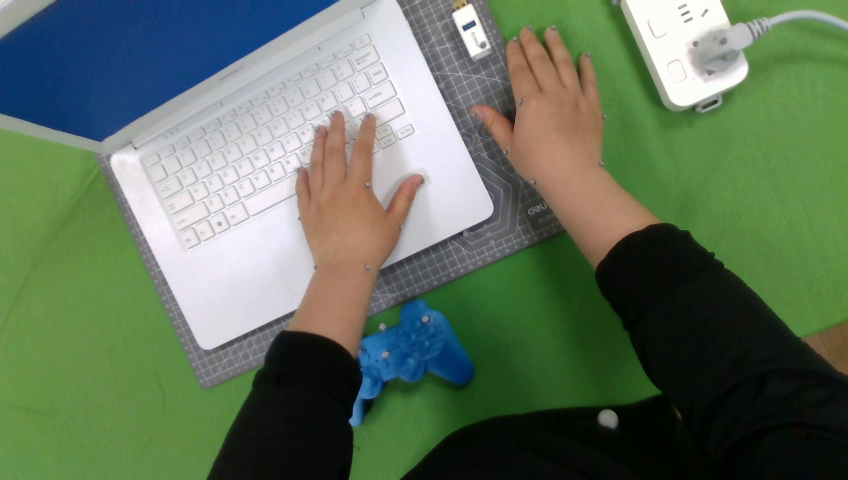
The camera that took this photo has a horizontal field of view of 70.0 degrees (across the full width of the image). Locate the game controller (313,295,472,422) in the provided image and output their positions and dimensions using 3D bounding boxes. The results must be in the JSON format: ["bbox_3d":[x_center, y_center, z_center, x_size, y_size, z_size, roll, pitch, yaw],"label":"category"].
[{"bbox_3d":[-0.038,0.120,0.608,0.155,0.051,0.097,-24,87,12],"label":"game controller"}]

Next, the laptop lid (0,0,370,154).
[{"bbox_3d":[-0.216,-0.173,0.506,0.356,0.242,0.013,-26,81,13],"label":"laptop lid"}]

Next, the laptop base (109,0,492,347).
[{"bbox_3d":[-0.135,-0.060,0.622,0.354,0.023,0.235,-26,93,12],"label":"laptop base"}]

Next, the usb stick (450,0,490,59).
[{"bbox_3d":[0.041,-0.203,0.568,0.021,0.027,0.059,-23,89,12],"label":"usb stick"}]

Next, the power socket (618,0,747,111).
[{"bbox_3d":[0.210,-0.223,0.534,0.072,0.032,0.226,-23,91,13],"label":"power socket"}]

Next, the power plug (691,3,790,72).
[{"bbox_3d":[0.263,-0.165,0.510,0.072,0.052,0.035,-13,92,7],"label":"power plug"}]
